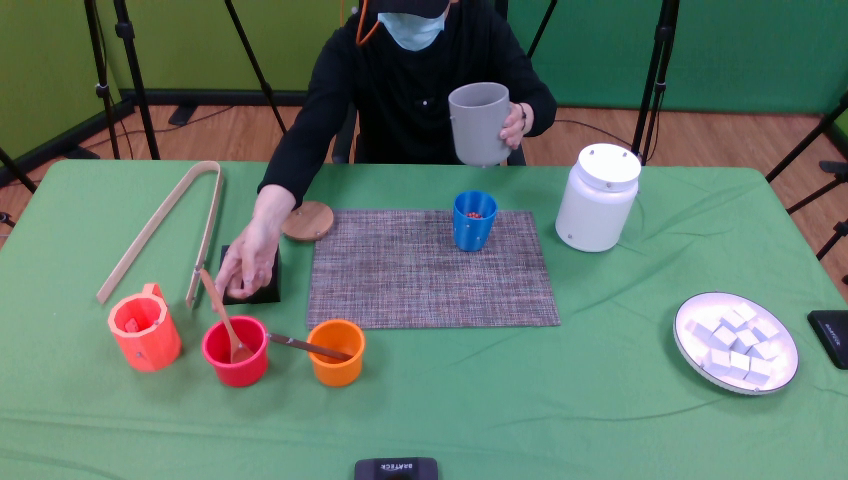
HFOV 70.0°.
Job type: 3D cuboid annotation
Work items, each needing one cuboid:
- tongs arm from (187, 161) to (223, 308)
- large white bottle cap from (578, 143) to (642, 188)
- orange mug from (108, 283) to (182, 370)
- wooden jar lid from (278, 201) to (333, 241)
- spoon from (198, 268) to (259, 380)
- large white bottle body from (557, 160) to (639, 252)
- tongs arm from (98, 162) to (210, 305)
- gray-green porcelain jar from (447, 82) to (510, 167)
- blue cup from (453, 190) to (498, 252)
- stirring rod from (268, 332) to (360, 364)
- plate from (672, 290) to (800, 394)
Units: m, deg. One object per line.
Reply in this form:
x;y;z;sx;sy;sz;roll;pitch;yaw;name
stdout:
-0.436;-0.025;1.180;0.051;0.027;0.382;-3;46;0;tongs arm
0.344;-0.139;1.123;0.115;0.018;0.114;2;46;-2;large white bottle cap
-0.445;0.133;0.983;0.083;0.101;0.125;-1;51;-5;orange mug
-0.236;-0.036;1.213;0.108;0.021;0.107;0;47;0;wooden jar lid
-0.312;0.132;0.962;0.041;0.021;0.194;-24;96;-21;spoon
0.340;-0.081;1.185;0.131;0.185;0.130;2;46;-1;large white bottle body
-0.520;-0.028;1.183;0.028;0.028;0.385;5;46;12;tongs arm
0.100;-0.204;1.086;0.106;0.127;0.105;-7;36;5;gray-green porcelain jar
0.094;-0.032;1.174;0.093;0.101;0.092;3;45;-3;blue cup
-0.167;0.169;0.941;0.177;0.006;0.014;26;25;-41;stirring rod
0.533;0.178;1.050;0.208;0.039;0.206;2;46;-2;plate
